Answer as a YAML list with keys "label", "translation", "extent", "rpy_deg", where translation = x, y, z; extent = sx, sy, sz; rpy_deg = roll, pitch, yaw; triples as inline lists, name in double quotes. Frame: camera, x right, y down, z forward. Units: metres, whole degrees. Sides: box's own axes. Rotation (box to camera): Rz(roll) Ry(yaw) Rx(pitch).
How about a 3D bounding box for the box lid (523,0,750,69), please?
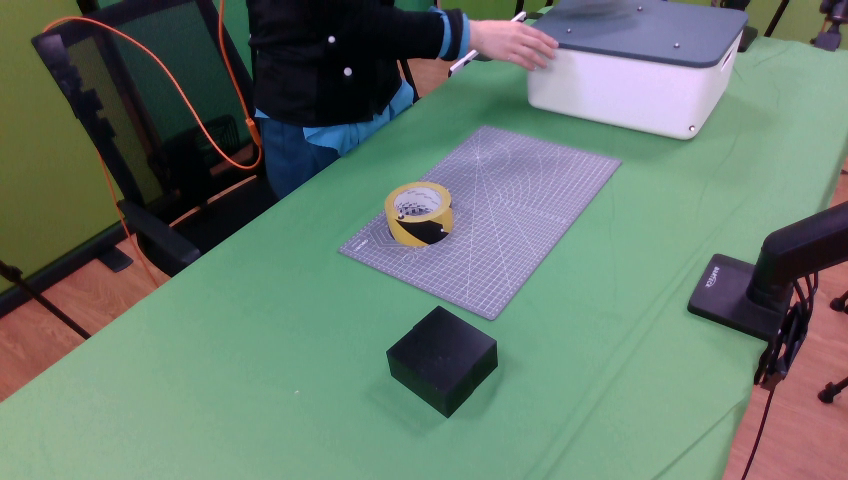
- label: "box lid"
  translation: [0.405, -0.409, 1.163]
  extent: [0.368, 0.015, 0.264]
  rpy_deg: [20, 47, 29]

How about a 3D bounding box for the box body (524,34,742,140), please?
- label: "box body"
  translation: [0.412, -0.355, 1.213]
  extent: [0.361, 0.161, 0.255]
  rpy_deg: [20, 48, 29]

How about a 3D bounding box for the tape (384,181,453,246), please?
- label: "tape"
  translation: [-0.009, -0.045, 0.994]
  extent: [0.117, 0.053, 0.116]
  rpy_deg: [-4, 40, 4]
